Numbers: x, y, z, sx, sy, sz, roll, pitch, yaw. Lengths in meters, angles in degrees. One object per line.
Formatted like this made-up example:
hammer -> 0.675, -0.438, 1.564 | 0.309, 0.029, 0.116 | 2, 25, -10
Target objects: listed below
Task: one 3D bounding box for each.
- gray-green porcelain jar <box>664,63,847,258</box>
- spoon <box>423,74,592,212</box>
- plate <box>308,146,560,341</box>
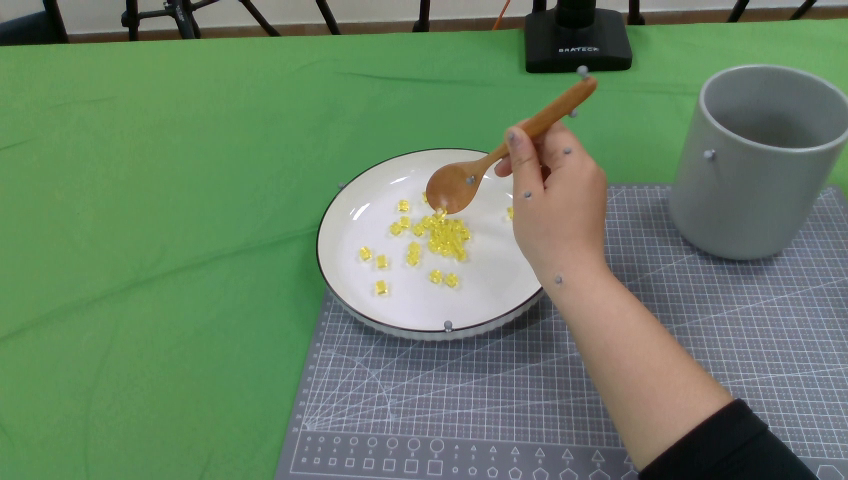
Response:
gray-green porcelain jar -> 0.253, -0.057, 0.480 | 0.106, 0.128, 0.105 | -3, 48, 4
spoon -> 0.055, -0.068, 0.461 | 0.021, 0.193, 0.041 | -31, 89, -35
plate -> 0.008, 0.001, 0.514 | 0.207, 0.039, 0.205 | -2, 49, 3
